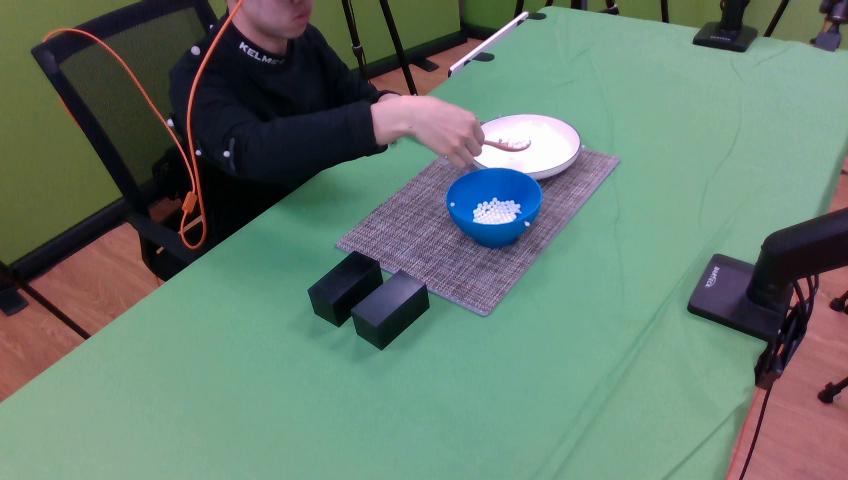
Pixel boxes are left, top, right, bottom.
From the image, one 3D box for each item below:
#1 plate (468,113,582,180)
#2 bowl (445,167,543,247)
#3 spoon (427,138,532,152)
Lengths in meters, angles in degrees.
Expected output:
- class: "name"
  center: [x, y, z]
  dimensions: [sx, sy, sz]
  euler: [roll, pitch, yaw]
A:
- class: "plate"
  center: [0.186, -0.169, 1.122]
  dimensions: [0.207, 0.039, 0.206]
  euler: [-4, 40, 4]
- class: "bowl"
  center: [0.111, -0.042, 0.952]
  dimensions: [0.151, 0.077, 0.150]
  euler: [-4, 41, 4]
- class: "spoon"
  center: [0.090, -0.154, 0.960]
  dimensions: [0.195, 0.021, 0.041]
  euler: [-2, 24, -29]
